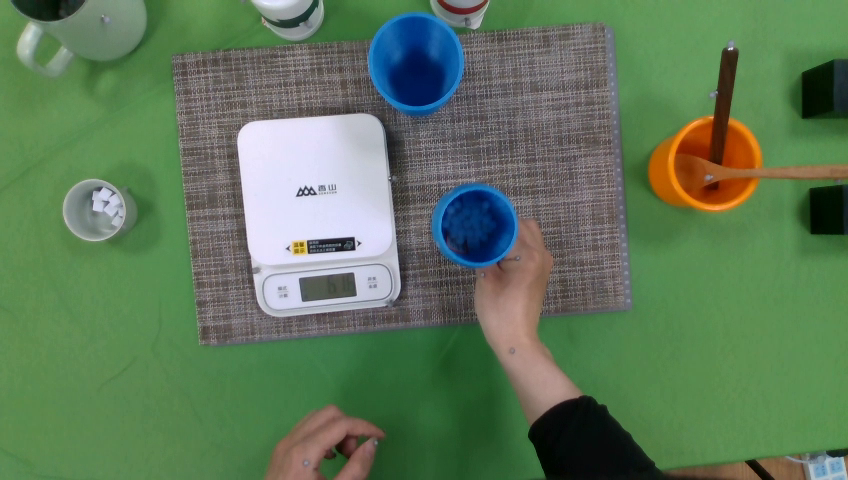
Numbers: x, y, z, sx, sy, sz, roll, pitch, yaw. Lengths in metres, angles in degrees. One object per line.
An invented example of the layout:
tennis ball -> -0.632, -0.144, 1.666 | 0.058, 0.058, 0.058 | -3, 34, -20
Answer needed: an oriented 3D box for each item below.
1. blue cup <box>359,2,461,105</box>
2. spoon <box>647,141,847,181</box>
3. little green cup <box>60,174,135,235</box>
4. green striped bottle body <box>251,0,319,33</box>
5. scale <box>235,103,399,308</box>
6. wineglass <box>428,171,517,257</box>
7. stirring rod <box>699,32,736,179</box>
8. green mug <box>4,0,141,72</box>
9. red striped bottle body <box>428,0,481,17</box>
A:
blue cup -> -0.010, -0.168, 0.579 | 0.093, 0.100, 0.092 | 0, 95, -1
spoon -> 0.309, -0.076, 0.575 | 0.022, 0.192, 0.042 | -15, 105, -44
little green cup -> -0.324, -0.035, 0.608 | 0.061, 0.038, 0.061 | 0, 93, -3
green striped bottle body -> -0.137, -0.242, 0.564 | 0.063, 0.119, 0.063 | 0, 93, -2
scale -> -0.108, -0.033, 0.616 | 0.149, 0.031, 0.201 | -6, 94, -1
wineglass -> 0.038, -0.024, 0.550 | 0.074, 0.172, 0.074 | 0, 94, -1
stirring rod -> 0.274, -0.118, 0.570 | 0.014, 0.178, 0.006 | 13, 59, 26
green mug -> -0.337, -0.215, 0.566 | 0.092, 0.105, 0.125 | 30, 91, -3
red striped bottle body -> 0.033, -0.260, 0.569 | 0.063, 0.119, 0.063 | 0, 92, -2
